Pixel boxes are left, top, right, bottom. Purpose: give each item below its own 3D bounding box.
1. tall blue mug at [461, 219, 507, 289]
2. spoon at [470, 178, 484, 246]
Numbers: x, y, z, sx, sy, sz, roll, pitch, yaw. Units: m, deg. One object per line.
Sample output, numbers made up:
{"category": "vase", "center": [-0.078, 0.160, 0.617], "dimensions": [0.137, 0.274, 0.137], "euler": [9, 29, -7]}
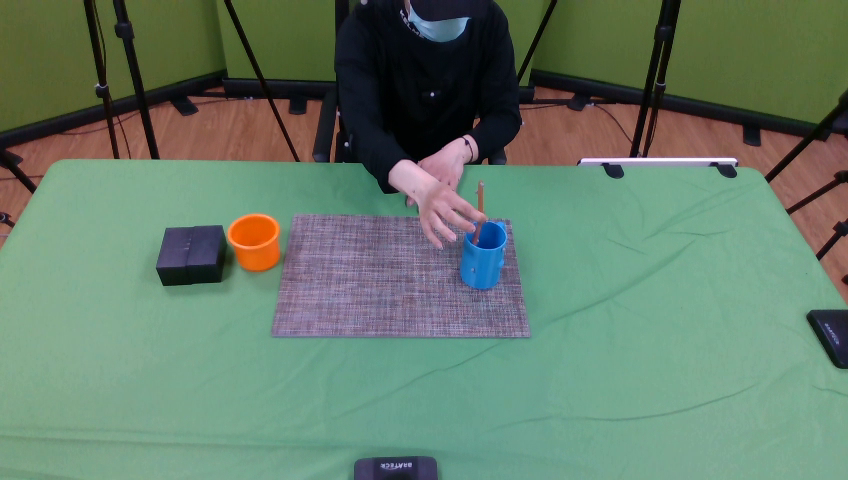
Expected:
{"category": "tall blue mug", "center": [0.111, 0.016, 1.122], "dimensions": [0.078, 0.108, 0.106], "euler": [6, 46, 4]}
{"category": "spoon", "center": [0.094, -0.028, 1.059], "dimensions": [0.021, 0.194, 0.041], "euler": [0, 40, -5]}
